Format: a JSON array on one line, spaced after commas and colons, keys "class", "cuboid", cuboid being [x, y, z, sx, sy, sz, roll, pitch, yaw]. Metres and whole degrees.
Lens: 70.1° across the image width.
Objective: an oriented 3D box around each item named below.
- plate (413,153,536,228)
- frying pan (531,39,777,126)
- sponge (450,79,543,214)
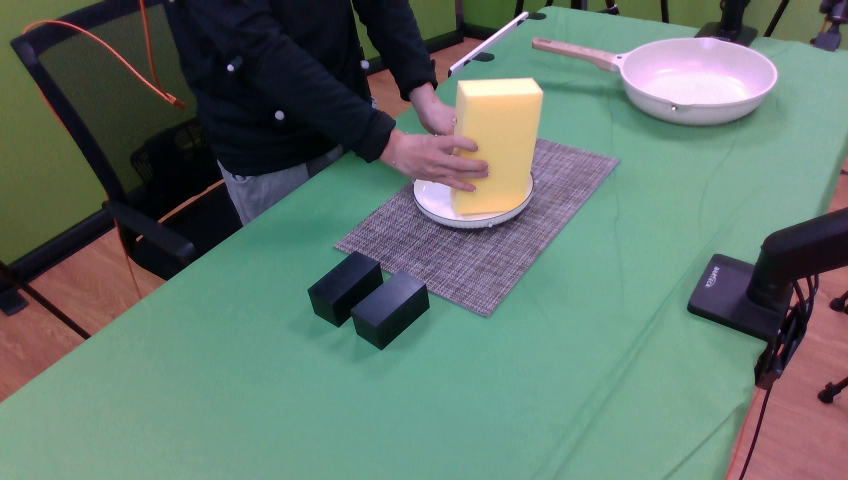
[{"class": "plate", "cuboid": [0.086, -0.085, 1.038, 0.207, 0.039, 0.206, -4, 41, 4]}, {"class": "frying pan", "cuboid": [0.452, -0.354, 1.254, 0.485, 0.103, 0.307, 22, 47, 19]}, {"class": "sponge", "cuboid": [0.109, -0.144, 0.955, 0.118, 0.207, 0.060, -4, 38, -9]}]
